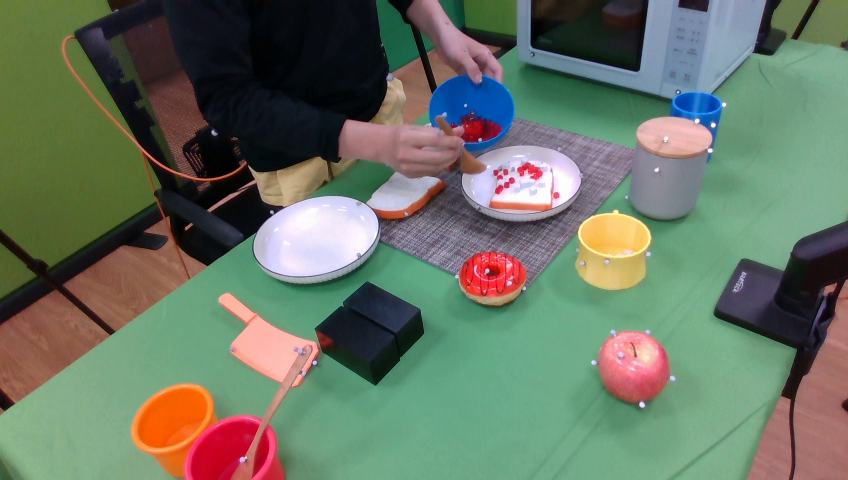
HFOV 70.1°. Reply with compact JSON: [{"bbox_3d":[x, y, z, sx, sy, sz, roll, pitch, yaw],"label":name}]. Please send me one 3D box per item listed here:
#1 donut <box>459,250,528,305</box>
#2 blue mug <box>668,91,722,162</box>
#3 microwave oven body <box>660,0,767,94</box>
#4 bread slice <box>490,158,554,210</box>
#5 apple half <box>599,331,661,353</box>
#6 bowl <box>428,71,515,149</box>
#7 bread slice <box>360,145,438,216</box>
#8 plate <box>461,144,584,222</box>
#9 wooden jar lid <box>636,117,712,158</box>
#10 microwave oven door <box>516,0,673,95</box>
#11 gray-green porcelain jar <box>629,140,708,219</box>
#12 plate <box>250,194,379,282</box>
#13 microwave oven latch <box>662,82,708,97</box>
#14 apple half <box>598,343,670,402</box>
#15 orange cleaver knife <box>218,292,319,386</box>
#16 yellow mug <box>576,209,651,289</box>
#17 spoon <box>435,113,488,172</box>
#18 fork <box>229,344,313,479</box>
[{"bbox_3d":[0.101,0.053,0.872,0.099,0.048,0.098,-5,40,5],"label":"donut"},{"bbox_3d":[0.474,-0.206,1.079,0.082,0.106,0.116,4,42,13],"label":"blue mug"},{"bbox_3d":[0.473,-0.516,1.313,0.438,0.261,0.327,26,51,34],"label":"microwave oven body"},{"bbox_3d":[0.173,-0.099,1.048,0.104,0.019,0.131,4,45,12],"label":"bread slice"},{"bbox_3d":[0.249,0.134,0.738,0.081,0.081,0.032,-1,46,7],"label":"apple half"},{"bbox_3d":[0.083,-0.214,1.068,0.151,0.077,0.150,0,64,1],"label":"bowl"},{"bbox_3d":[-0.053,-0.103,1.046,0.106,0.018,0.134,19,67,22],"label":"bread slice"},{"bbox_3d":[0.167,-0.095,1.040,0.207,0.039,0.206,-4,40,4],"label":"plate"},{"bbox_3d":[0.377,-0.151,0.917,0.108,0.021,0.108,-2,42,3],"label":"wooden jar lid"},{"bbox_3d":[0.344,-0.458,1.257,0.353,0.245,0.039,26,52,33],"label":"microwave oven door"},{"bbox_3d":[0.383,-0.105,0.958,0.106,0.127,0.105,-4,41,4],"label":"gray-green porcelain jar"},{"bbox_3d":[-0.174,-0.001,0.984,0.209,0.038,0.208,-3,40,3],"label":"plate"},{"bbox_3d":[0.518,-0.298,1.202,0.078,0.029,0.030,28,53,35],"label":"microwave oven latch"},{"bbox_3d":[0.247,0.161,0.710,0.081,0.075,0.053,2,47,5],"label":"apple half"},{"bbox_3d":[-0.235,0.136,0.850,0.209,0.012,0.077,25,56,30],"label":"orange cleaver knife"},{"bbox_3d":[0.279,0.004,0.893,0.099,0.064,0.130,5,41,14],"label":"yellow mug"},{"bbox_3d":[0.051,-0.136,0.862,0.041,0.195,0.021,-8,69,20],"label":"spoon"},{"bbox_3d":[-0.173,0.205,0.662,0.028,0.019,0.207,29,94,36],"label":"fork"}]
